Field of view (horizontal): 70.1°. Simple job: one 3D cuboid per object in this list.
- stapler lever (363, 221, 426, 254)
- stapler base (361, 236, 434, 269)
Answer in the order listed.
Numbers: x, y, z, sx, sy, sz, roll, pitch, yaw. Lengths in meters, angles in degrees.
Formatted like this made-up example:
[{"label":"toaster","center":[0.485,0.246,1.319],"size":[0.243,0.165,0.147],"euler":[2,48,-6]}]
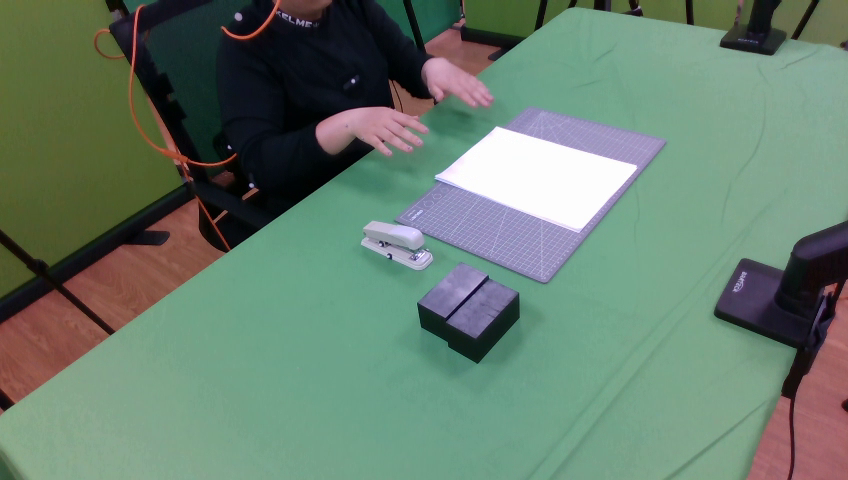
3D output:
[{"label":"stapler lever","center":[-0.048,-0.011,0.958],"size":[0.117,0.040,0.027],"euler":[21,46,32]},{"label":"stapler base","center":[-0.044,0.009,0.974],"size":[0.129,0.024,0.041],"euler":[21,46,32]}]
